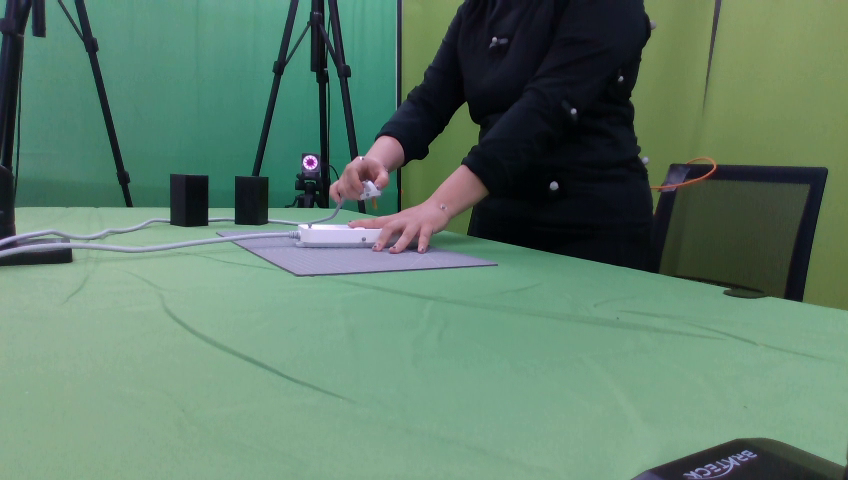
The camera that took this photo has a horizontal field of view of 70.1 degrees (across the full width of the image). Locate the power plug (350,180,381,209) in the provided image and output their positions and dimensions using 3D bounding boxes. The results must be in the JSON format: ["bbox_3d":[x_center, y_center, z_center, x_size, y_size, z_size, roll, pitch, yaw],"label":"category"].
[{"bbox_3d":[-0.098,-0.076,1.044,0.035,0.052,0.072,-11,-3,-22],"label":"power plug"}]

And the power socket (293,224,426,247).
[{"bbox_3d":[-0.103,-0.008,1.003,0.228,0.032,0.072,0,7,-22],"label":"power socket"}]
